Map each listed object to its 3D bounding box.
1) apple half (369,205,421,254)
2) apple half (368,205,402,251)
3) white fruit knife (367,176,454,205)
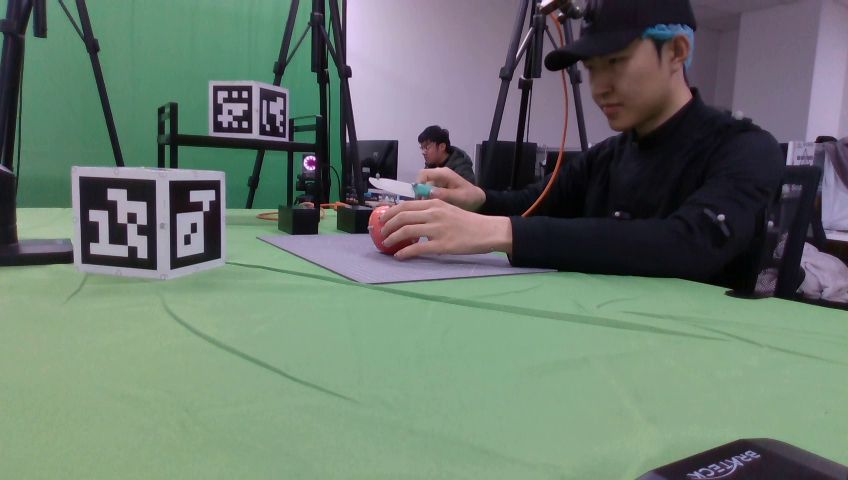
[{"bbox_3d":[-0.037,-0.014,0.920,0.081,0.074,0.053,2,10,-39],"label":"apple half"},{"bbox_3d":[-0.062,-0.020,0.949,0.082,0.081,0.032,-4,13,-38],"label":"apple half"},{"bbox_3d":[-0.017,-0.083,0.984,0.016,0.027,0.208,-3,-6,39],"label":"white fruit knife"}]
